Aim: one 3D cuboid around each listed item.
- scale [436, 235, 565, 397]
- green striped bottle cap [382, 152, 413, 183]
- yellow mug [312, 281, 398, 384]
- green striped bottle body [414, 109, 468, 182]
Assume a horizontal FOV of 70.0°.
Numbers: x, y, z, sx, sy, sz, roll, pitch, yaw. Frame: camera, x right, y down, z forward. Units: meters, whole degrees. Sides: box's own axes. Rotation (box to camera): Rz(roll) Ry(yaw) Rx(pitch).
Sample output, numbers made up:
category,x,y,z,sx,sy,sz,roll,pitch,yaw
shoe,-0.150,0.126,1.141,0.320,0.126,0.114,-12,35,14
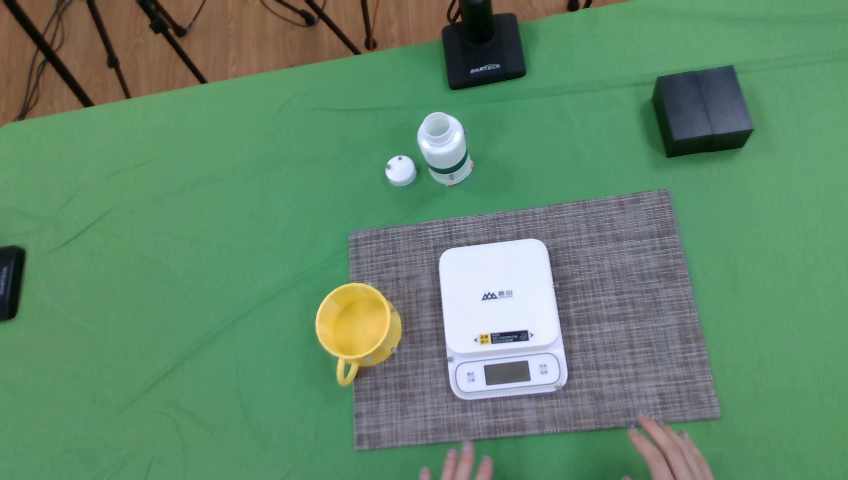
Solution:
category,x,y,z,sx,sy,sz,roll,pitch,yaw
scale,0.096,0.096,0.787,0.148,0.032,0.199,-8,70,8
green striped bottle cap,-0.039,-0.107,0.897,0.044,0.020,0.044,-2,76,8
yellow mug,-0.093,0.124,0.793,0.099,0.064,0.130,10,74,14
green striped bottle body,0.023,-0.133,0.838,0.063,0.120,0.063,-3,69,9
